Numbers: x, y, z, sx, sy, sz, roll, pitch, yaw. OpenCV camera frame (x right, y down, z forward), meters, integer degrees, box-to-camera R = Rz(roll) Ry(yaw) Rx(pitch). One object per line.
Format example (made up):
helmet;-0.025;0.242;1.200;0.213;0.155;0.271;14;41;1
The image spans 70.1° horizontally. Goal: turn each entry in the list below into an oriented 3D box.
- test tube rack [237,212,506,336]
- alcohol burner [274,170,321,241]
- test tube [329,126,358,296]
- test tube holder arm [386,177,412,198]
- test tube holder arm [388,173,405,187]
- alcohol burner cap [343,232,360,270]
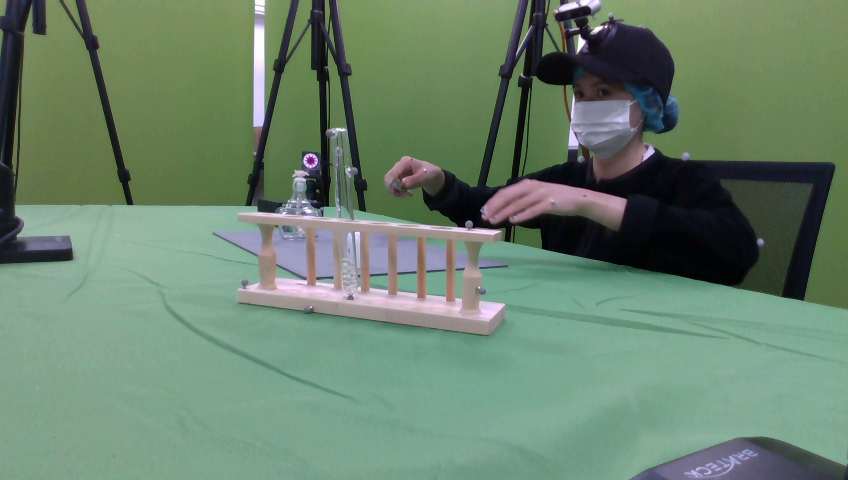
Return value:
test tube rack;-0.049;0.024;0.552;0.242;0.085;0.067;5;8;19
alcohol burner;-0.212;-0.058;1.015;0.078;0.119;0.078;4;6;0
test tube;-0.071;-0.025;0.535;0.017;0.150;0.017;-3;8;1
test tube holder arm;-0.045;-0.097;1.122;0.015;0.013;0.179;40;2;10
test tube holder arm;-0.048;-0.105;1.077;0.015;0.010;0.088;40;3;10
alcohol burner cap;-0.087;0.013;0.776;0.034;0.048;0.034;3;7;0
